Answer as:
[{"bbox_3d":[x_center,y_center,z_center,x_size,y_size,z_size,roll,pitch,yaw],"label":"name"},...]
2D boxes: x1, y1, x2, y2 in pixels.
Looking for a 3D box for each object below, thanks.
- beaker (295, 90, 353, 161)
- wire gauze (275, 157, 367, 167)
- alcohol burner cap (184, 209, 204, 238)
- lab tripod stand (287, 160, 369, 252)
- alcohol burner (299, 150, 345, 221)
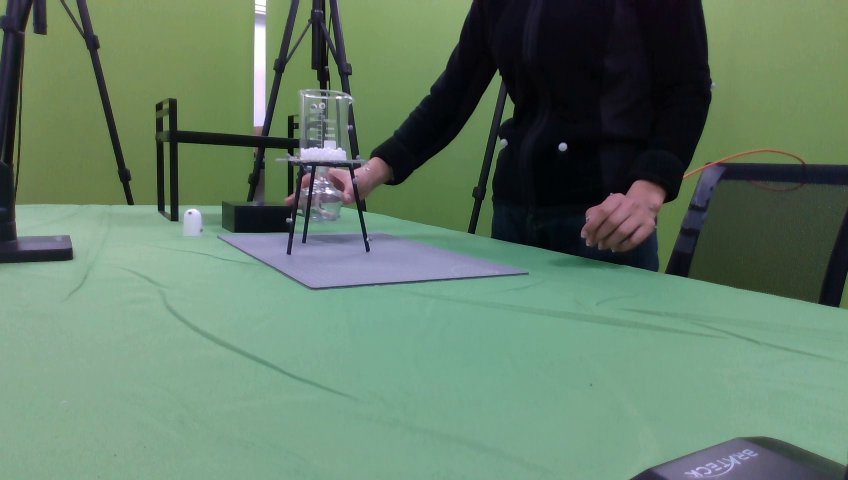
[{"bbox_3d":[-0.146,-0.164,0.884,0.084,0.100,0.074,1,7,-6],"label":"beaker"},{"bbox_3d":[-0.148,-0.117,0.895,0.121,0.011,0.125,3,5,-3],"label":"wire gauze"},{"bbox_3d":[-0.390,-0.029,1.025,0.034,0.048,0.034,2,9,0],"label":"alcohol burner cap"},{"bbox_3d":[-0.157,-0.053,0.901,0.148,0.131,0.148,0,7,0],"label":"lab tripod stand"},{"bbox_3d":[-0.172,-0.092,1.019,0.078,0.119,0.078,2,5,0],"label":"alcohol burner"}]
